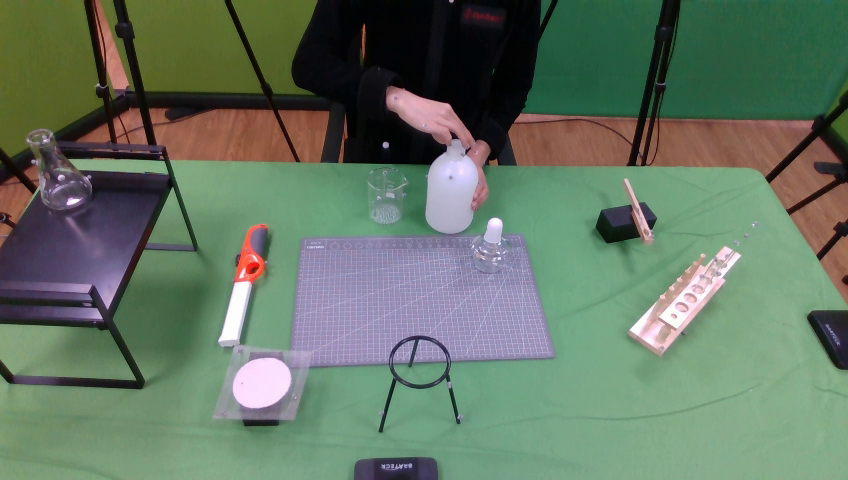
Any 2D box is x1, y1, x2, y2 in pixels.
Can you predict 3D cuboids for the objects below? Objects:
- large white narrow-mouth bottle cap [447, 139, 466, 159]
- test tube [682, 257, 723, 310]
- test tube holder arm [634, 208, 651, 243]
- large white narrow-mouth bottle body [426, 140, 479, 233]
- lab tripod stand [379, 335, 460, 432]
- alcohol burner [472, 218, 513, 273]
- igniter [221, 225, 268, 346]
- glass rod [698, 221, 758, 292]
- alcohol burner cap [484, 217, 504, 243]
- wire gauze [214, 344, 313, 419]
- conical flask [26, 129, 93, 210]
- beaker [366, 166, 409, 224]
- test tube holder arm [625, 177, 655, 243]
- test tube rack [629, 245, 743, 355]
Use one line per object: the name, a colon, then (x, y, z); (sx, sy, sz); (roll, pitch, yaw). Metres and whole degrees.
large white narrow-mouth bottle cap: (0.061, -0.169, 1.124); (0.038, 0.024, 0.037); (2, 46, -2)
test tube: (0.475, 0.080, 1.037); (0.017, 0.151, 0.017); (1, 50, -1)
test tube holder arm: (0.428, -0.030, 1.189); (0.010, 0.015, 0.087); (1, 47, -2)
large white narrow-mouth bottle body: (0.057, -0.111, 1.187); (0.102, 0.195, 0.101); (2, 46, -2)
lab tripod stand: (-0.011, 0.214, 0.911); (0.148, 0.132, 0.147); (1, 45, 0)
alcohol burner: (0.128, 0.005, 1.132); (0.078, 0.120, 0.077); (0, 47, 0)
igniter: (-0.323, 0.072, 1.100); (0.057, 0.025, 0.274); (-6, 45, 5)
glass rod: (0.527, 0.035, 1.059); (0.008, 0.200, 0.008); (5, 49, -6)
alcohol burner cap: (0.130, -0.021, 1.107); (0.034, 0.048, 0.033); (4, 41, -3)
wire gauze: (-0.241, 0.213, 0.916); (0.121, 0.011, 0.124); (5, 46, 1)
conical flask: (-0.575, -0.113, 0.946); (0.075, 0.122, 0.075); (2, 46, -2)
beaker: (-0.074, -0.088, 1.222); (0.084, 0.101, 0.073); (4, 46, -1)
test tube holder arm: (0.433, -0.063, 1.220); (0.013, 0.015, 0.177); (1, 47, -3)
test tube rack: (0.474, 0.095, 1.091); (0.242, 0.085, 0.066); (-34, 56, -31)
